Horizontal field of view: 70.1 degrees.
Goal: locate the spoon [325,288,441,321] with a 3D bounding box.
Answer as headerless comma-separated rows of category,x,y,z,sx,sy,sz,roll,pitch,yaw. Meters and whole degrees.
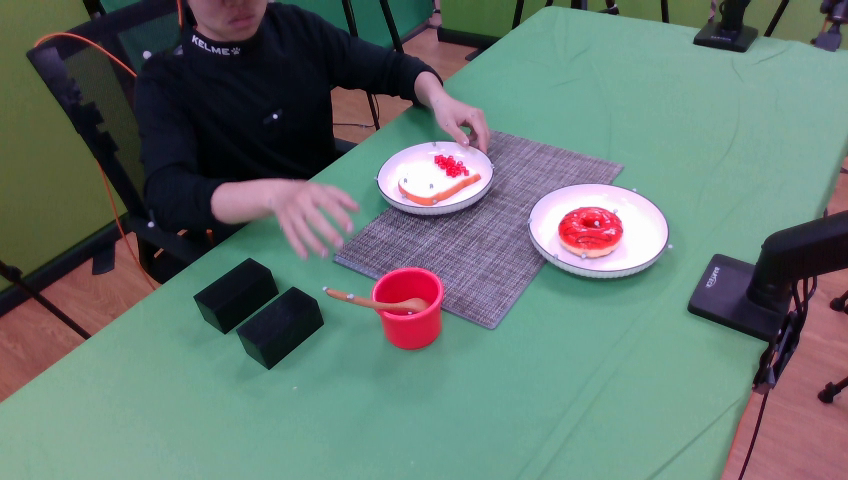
spoon,-0.047,0.084,0.776,0.195,0.021,0.041,12,27,-42

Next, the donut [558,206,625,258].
donut,0.254,-0.015,0.917,0.099,0.048,0.098,-5,41,5

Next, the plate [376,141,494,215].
plate,0.021,-0.106,1.073,0.209,0.038,0.208,-4,40,4

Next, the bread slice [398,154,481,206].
bread slice,0.021,-0.107,1.077,0.132,0.019,0.104,-31,46,-28

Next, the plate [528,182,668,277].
plate,0.264,-0.014,0.933,0.207,0.039,0.206,-3,42,3
